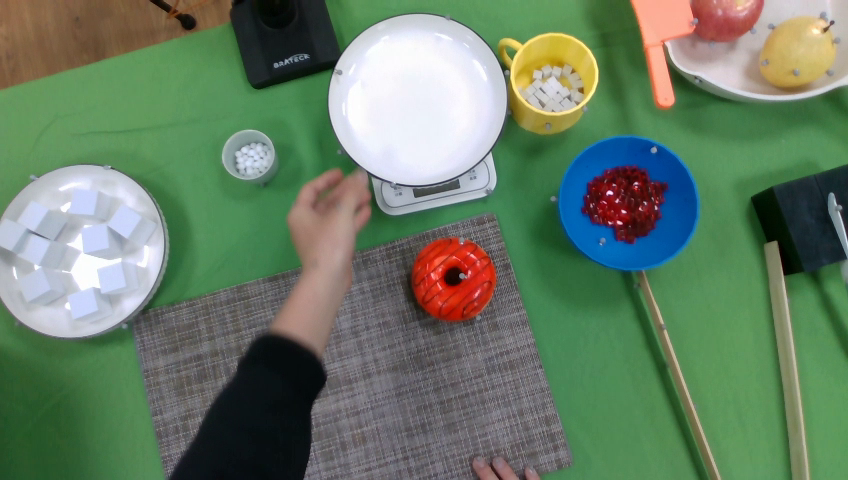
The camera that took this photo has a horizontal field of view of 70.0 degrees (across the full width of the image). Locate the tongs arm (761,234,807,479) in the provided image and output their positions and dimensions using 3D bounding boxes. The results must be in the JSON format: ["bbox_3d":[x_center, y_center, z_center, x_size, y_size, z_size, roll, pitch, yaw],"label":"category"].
[{"bbox_3d":[0.401,0.186,0.677,0.028,0.028,0.386,0,82,-6],"label":"tongs arm"}]

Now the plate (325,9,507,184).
[{"bbox_3d":[-0.009,-0.163,0.704,0.209,0.038,0.208,0,81,1],"label":"plate"}]

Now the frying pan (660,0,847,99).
[{"bbox_3d":[0.464,-0.228,0.699,0.306,0.103,0.485,-43,75,-4],"label":"frying pan"}]

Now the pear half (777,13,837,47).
[{"bbox_3d":[0.443,-0.246,0.705,0.070,0.088,0.031,15,81,9],"label":"pear half"}]

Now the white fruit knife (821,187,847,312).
[{"bbox_3d":[0.469,0.040,0.672,0.016,0.027,0.207,-18,96,-1],"label":"white fruit knife"}]

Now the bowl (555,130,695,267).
[{"bbox_3d":[0.218,-0.040,0.690,0.151,0.077,0.151,0,82,1],"label":"bowl"}]

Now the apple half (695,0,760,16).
[{"bbox_3d":[0.364,-0.304,0.723,0.081,0.081,0.033,25,86,5],"label":"apple half"}]

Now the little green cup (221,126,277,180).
[{"bbox_3d":[-0.208,-0.102,0.729,0.061,0.039,0.061,0,81,2],"label":"little green cup"}]

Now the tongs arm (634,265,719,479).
[{"bbox_3d":[0.317,0.201,0.674,0.051,0.026,0.383,-15,82,-5],"label":"tongs arm"}]

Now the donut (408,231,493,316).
[{"bbox_3d":[0.030,0.038,0.696,0.099,0.048,0.098,0,82,4],"label":"donut"}]

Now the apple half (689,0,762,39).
[{"bbox_3d":[0.349,-0.269,0.719,0.081,0.075,0.053,25,86,2],"label":"apple half"}]

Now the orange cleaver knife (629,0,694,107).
[{"bbox_3d":[0.266,-0.256,0.690,0.077,0.012,0.210,-11,82,2],"label":"orange cleaver knife"}]

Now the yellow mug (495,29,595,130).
[{"bbox_3d":[0.135,-0.199,0.722,0.130,0.064,0.100,41,85,8],"label":"yellow mug"}]

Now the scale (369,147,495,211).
[{"bbox_3d":[-0.004,-0.144,0.734,0.149,0.031,0.200,-12,82,0],"label":"scale"}]

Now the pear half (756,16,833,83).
[{"bbox_3d":[0.427,-0.216,0.691,0.076,0.110,0.056,20,82,8],"label":"pear half"}]

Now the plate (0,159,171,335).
[{"bbox_3d":[-0.400,0.008,0.717,0.207,0.039,0.207,0,81,1],"label":"plate"}]
